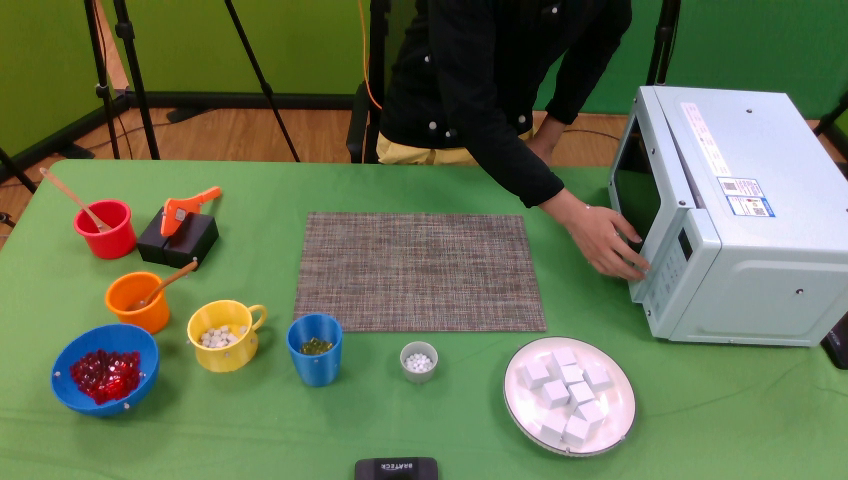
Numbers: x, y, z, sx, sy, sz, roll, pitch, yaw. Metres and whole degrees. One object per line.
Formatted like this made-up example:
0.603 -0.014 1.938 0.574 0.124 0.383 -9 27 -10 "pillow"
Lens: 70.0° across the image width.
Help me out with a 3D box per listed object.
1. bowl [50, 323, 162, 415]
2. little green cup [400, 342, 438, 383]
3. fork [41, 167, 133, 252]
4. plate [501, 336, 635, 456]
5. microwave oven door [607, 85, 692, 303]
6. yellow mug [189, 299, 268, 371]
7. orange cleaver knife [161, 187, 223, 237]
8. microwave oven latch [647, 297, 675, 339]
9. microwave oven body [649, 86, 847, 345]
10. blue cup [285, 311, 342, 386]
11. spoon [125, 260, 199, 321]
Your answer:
-0.472 0.209 0.924 0.151 0.077 0.150 2 45 -2 "bowl"
-0.009 0.202 0.991 0.061 0.039 0.061 2 47 -2 "little green cup"
-0.624 -0.056 1.121 0.208 0.018 0.028 49 52 -15 "fork"
0.225 0.248 0.963 0.208 0.039 0.206 2 46 -2 "plate"
0.414 -0.095 1.141 0.039 0.245 0.353 4 46 1 "microwave oven door"
-0.316 0.148 1.002 0.131 0.064 0.099 -32 56 -31 "yellow mug"
-0.448 -0.058 1.181 0.012 0.077 0.211 13 17 6 "orange cleaver knife"
0.413 0.134 1.060 0.030 0.029 0.078 5 45 2 "microwave oven latch"
0.567 -0.053 1.118 0.326 0.261 0.439 2 45 -1 "microwave oven body"
-0.170 0.179 0.958 0.093 0.101 0.092 1 44 -1 "blue cup"
-0.435 0.083 1.000 0.022 0.194 0.041 35 34 -35 "spoon"
